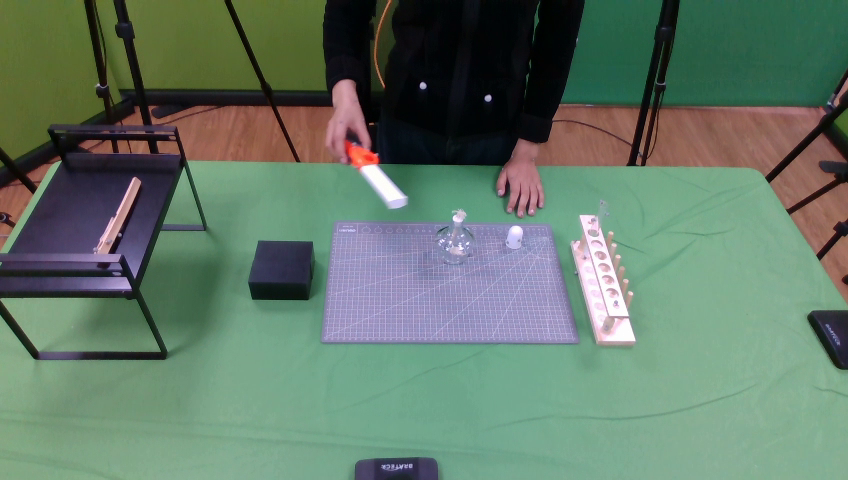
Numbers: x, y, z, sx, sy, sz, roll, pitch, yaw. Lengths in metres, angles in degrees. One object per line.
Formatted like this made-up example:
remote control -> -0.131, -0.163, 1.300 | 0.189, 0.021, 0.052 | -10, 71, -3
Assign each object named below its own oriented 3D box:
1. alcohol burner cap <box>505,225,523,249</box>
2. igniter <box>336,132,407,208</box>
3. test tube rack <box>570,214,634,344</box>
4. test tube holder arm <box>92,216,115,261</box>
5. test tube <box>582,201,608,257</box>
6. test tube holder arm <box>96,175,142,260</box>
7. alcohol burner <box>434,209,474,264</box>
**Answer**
alcohol burner cap -> 0.180, -0.009, 1.203 | 0.034, 0.048, 0.033 | 2, 47, -2
igniter -> -0.102, -0.133, 1.089 | 0.057, 0.025, 0.274 | -11, 37, -24
test tube rack -> 0.333, 0.067, 1.116 | 0.067, 0.085, 0.241 | 1, 46, -4
test tube holder arm -> -0.479, -0.004, 0.917 | 0.010, 0.015, 0.087 | -18, 43, 20
test tube -> 0.316, -0.017, 1.127 | 0.017, 0.151, 0.017 | 1, 51, -1
test tube holder arm -> -0.473, -0.039, 0.946 | 0.013, 0.015, 0.177 | -19, 43, 20
alcohol burner -> 0.058, -0.011, 1.147 | 0.078, 0.119, 0.077 | 3, 44, -3
